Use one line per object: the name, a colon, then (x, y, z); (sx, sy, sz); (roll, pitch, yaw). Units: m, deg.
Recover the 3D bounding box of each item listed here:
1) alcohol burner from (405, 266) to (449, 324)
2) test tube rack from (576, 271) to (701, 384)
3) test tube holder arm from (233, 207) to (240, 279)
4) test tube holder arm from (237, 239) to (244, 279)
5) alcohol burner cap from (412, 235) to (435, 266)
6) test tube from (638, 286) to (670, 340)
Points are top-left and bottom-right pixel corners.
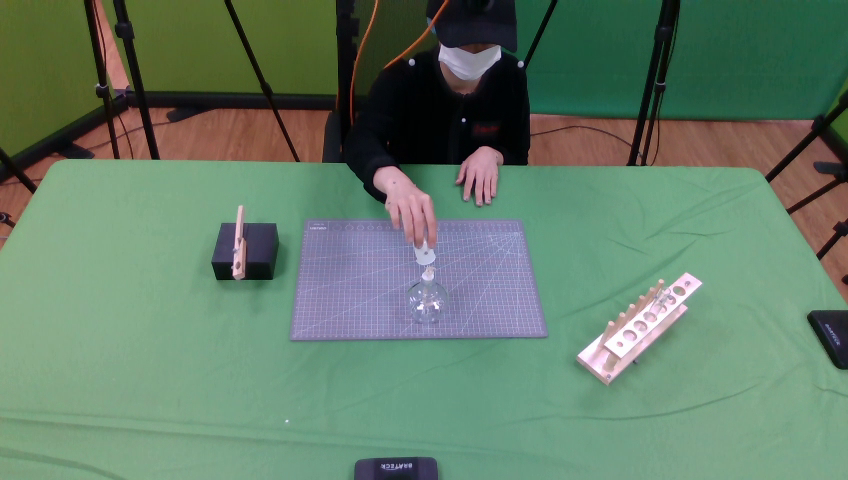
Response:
alcohol burner: (0.005, 0.089, 1.043); (0.078, 0.120, 0.077); (1, 45, -1)
test tube rack: (0.373, 0.138, 1.047); (0.242, 0.085, 0.066); (-31, 55, -29)
test tube holder arm: (-0.341, 0.002, 1.106); (0.013, 0.015, 0.177); (-11, 47, -8)
test tube holder arm: (-0.325, 0.032, 1.076); (0.010, 0.015, 0.087); (-10, 47, -7)
alcohol burner cap: (-0.003, 0.014, 0.966); (0.034, 0.048, 0.033); (-10, 37, 8)
test tube: (0.373, 0.123, 0.994); (0.017, 0.151, 0.017); (0, 51, 0)
